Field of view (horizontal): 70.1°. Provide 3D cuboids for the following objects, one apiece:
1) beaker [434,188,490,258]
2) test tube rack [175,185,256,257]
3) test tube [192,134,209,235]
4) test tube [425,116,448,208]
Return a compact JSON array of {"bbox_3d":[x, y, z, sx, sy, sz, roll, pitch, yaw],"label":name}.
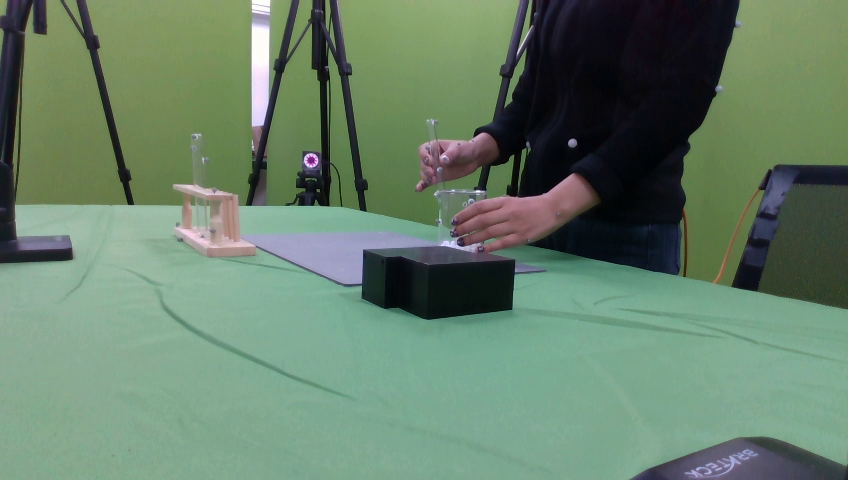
[{"bbox_3d":[0.055,-0.026,0.897,0.084,0.100,0.074,0,7,-9],"label":"beaker"},{"bbox_3d":[-0.324,-0.035,0.922,0.067,0.085,0.241,-2,9,-31],"label":"test tube rack"},{"bbox_3d":[-0.332,-0.082,0.898,0.017,0.150,0.017,-2,6,0],"label":"test tube"},{"bbox_3d":[0.021,-0.125,0.981,0.017,0.150,0.017,-9,3,1],"label":"test tube"}]
